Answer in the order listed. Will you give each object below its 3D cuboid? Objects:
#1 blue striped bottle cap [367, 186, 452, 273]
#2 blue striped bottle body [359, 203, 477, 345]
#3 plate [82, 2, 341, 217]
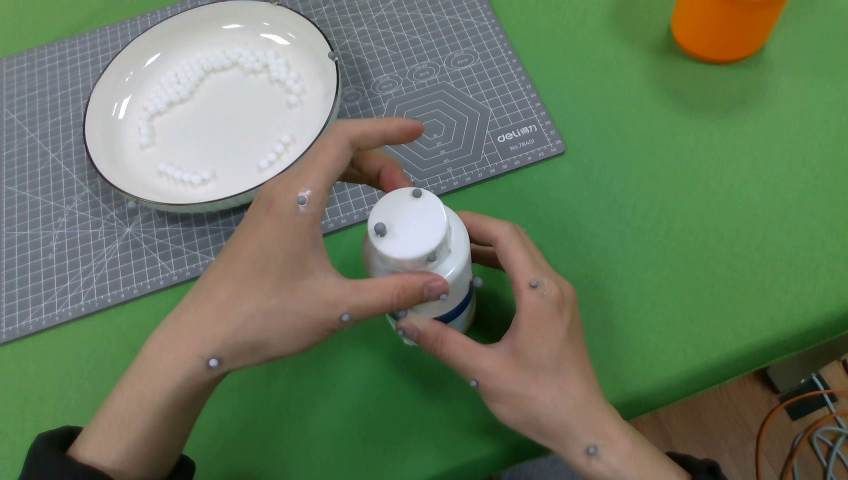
[{"bbox_3d":[-0.008,-0.006,0.322,0.044,0.021,0.044,-4,63,8],"label":"blue striped bottle cap"},{"bbox_3d":[-0.002,0.017,0.369,0.063,0.122,0.062,-3,63,7],"label":"blue striped bottle body"},{"bbox_3d":[-0.167,-0.106,0.494,0.207,0.039,0.206,-2,63,5],"label":"plate"}]
